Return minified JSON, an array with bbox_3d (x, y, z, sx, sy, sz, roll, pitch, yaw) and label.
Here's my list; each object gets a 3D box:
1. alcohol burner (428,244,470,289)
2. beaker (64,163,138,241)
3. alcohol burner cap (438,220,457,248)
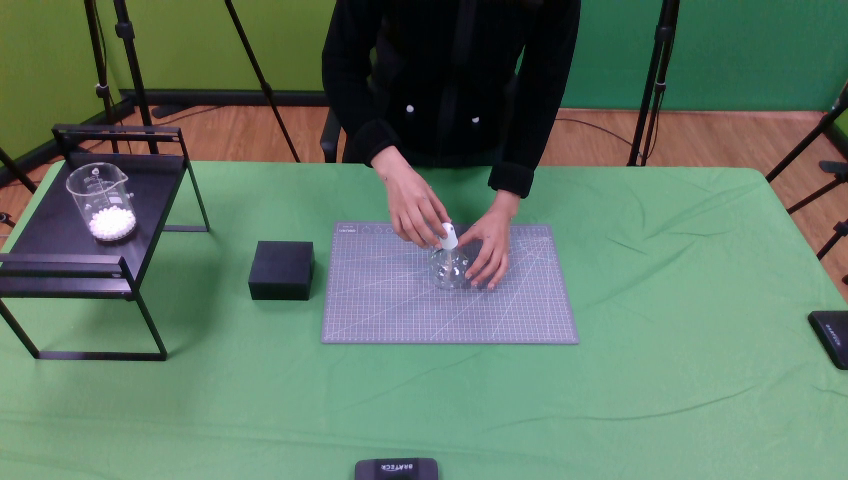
[{"bbox_3d":[0.045,0.032,1.099,0.078,0.120,0.077,0,45,0],"label":"alcohol burner"},{"bbox_3d":[-0.477,-0.055,0.910,0.084,0.101,0.073,-9,48,-13],"label":"beaker"},{"bbox_3d":[0.040,-0.013,1.055,0.034,0.048,0.033,-2,45,2],"label":"alcohol burner cap"}]
